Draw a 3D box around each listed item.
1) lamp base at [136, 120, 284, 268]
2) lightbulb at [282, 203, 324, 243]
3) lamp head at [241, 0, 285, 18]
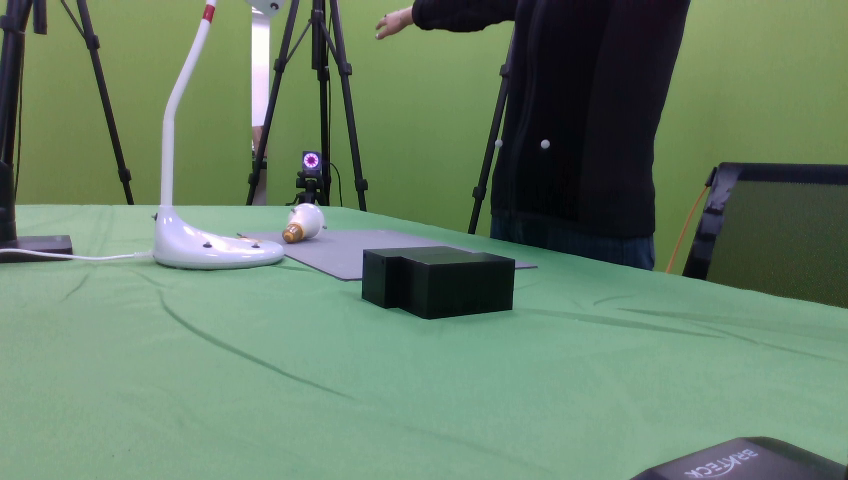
[{"bbox_3d":[-0.272,-0.061,0.769,0.180,0.180,0.160,-7,11,-37],"label":"lamp base"},{"bbox_3d":[-0.203,-0.023,0.993,0.059,0.059,0.108,3,23,12],"label":"lightbulb"},{"bbox_3d":[-0.233,-0.366,0.790,0.123,0.112,0.112,15,-1,-33],"label":"lamp head"}]
